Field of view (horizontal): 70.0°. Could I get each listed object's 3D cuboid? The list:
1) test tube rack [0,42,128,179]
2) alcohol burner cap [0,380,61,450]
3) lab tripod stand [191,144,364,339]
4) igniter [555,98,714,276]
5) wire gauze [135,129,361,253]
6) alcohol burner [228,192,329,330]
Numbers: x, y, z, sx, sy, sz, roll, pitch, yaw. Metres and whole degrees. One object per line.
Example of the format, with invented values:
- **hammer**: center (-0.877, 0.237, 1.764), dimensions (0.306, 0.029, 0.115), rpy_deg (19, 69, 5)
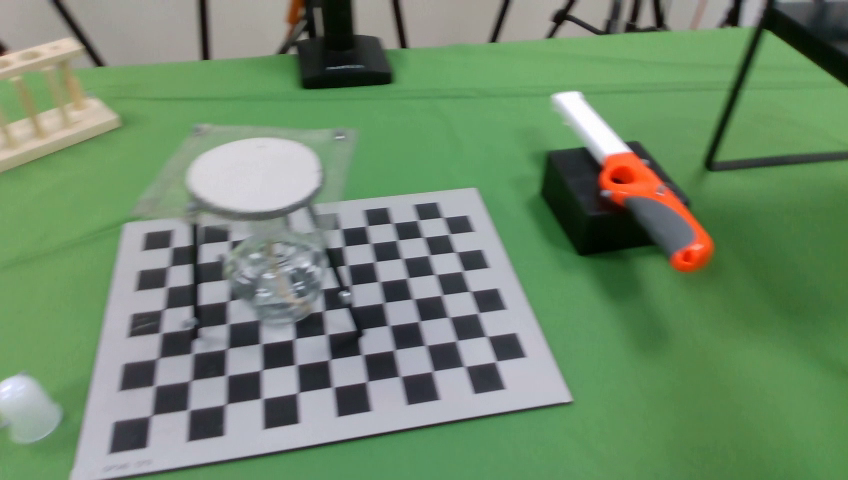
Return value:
- **test tube rack**: center (-0.445, -0.116, 0.615), dimensions (0.066, 0.086, 0.242), rpy_deg (35, 51, 30)
- **alcohol burner cap**: center (-0.268, 0.114, 0.404), dimensions (0.034, 0.048, 0.033), rpy_deg (2, 42, -2)
- **lab tripod stand**: center (-0.110, 0.006, 0.458), dimensions (0.148, 0.132, 0.147), rpy_deg (3, 41, -2)
- **igniter**: center (0.187, -0.063, 0.566), dimensions (0.057, 0.025, 0.273), rpy_deg (-9, 41, -8)
- **wire gauze**: center (-0.110, -0.041, 0.410), dimensions (0.125, 0.011, 0.120), rpy_deg (6, 42, 2)
- **alcohol burner**: center (-0.114, 0.013, 0.465), dimensions (0.078, 0.120, 0.077), rpy_deg (0, 43, 0)
